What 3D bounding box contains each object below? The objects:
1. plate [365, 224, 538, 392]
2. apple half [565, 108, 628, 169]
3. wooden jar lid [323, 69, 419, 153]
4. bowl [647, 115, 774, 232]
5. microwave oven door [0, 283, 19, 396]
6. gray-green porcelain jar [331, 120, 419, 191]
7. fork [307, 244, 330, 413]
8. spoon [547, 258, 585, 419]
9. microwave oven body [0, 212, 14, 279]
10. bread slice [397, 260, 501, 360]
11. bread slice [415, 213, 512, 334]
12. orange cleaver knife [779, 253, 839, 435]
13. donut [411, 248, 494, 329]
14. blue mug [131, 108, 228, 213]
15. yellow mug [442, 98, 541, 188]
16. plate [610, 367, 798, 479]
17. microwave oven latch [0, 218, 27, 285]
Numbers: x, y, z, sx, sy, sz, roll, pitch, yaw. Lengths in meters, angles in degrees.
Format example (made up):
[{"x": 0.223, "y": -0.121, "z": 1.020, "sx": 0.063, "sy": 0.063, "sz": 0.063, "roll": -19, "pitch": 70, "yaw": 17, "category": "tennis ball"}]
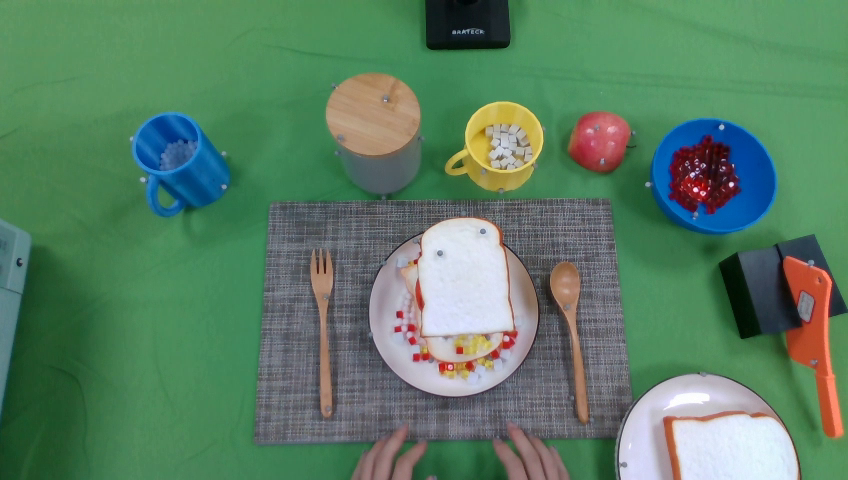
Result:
[{"x": 0.033, "y": 0.080, "z": 0.740, "sx": 0.208, "sy": 0.039, "sz": 0.206, "roll": 0, "pitch": 74, "yaw": 0, "category": "plate"}, {"x": 0.231, "y": -0.141, "z": 0.802, "sx": 0.074, "sy": 0.053, "sz": 0.080, "roll": 21, "pitch": 75, "yaw": 8, "category": "apple half"}, {"x": -0.060, "y": -0.146, "z": 0.696, "sx": 0.108, "sy": 0.021, "sz": 0.107, "roll": 1, "pitch": 71, "yaw": -2, "category": "wooden jar lid"}, {"x": 0.348, "y": -0.073, "z": 0.769, "sx": 0.151, "sy": 0.077, "sz": 0.150, "roll": 0, "pitch": 74, "yaw": 0, "category": "bowl"}, {"x": -0.511, "y": 0.195, "z": 0.581, "sx": 0.039, "sy": 0.245, "sz": 0.353, "roll": -1, "pitch": 73, "yaw": 0, "category": "microwave oven door"}, {"x": -0.059, "y": -0.127, "z": 0.757, "sx": 0.106, "sy": 0.127, "sz": 0.105, "roll": 0, "pitch": 73, "yaw": 0, "category": "gray-green porcelain jar"}, {"x": -0.126, "y": 0.105, "z": 0.741, "sx": 0.028, "sy": 0.019, "sz": 0.206, "roll": -2, "pitch": 72, "yaw": -12, "category": "fork"}, {"x": 0.177, "y": 0.117, "z": 0.737, "sx": 0.042, "sy": 0.021, "sz": 0.192, "roll": 2, "pitch": 72, "yaw": -21, "category": "spoon"}, {"x": -0.657, "y": 0.156, "z": 0.596, "sx": 0.326, "sy": 0.261, "sz": 0.439, "roll": 0, "pitch": 74, "yaw": -1, "category": "microwave oven body"}, {"x": 0.038, "y": 0.078, "z": 0.740, "sx": 0.107, "sy": 0.018, "sz": 0.133, "roll": -18, "pitch": 75, "yaw": -4, "category": "bread slice"}, {"x": 0.039, "y": 0.037, "z": 0.659, "sx": 0.105, "sy": 0.019, "sz": 0.131, "roll": -5, "pitch": 87, "yaw": 5, "category": "bread slice"}, {"x": 0.450, "y": 0.120, "z": 0.711, "sx": 0.012, "sy": 0.077, "sz": 0.211, "roll": -11, "pitch": 96, "yaw": -10, "category": "orange cleaver knife"}, {"x": 0.034, "y": 0.057, "z": 0.717, "sx": 0.099, "sy": 0.048, "sz": 0.098, "roll": 0, "pitch": 74, "yaw": 0, "category": "donut"}, {"x": -0.308, "y": -0.089, "z": 0.755, "sx": 0.082, "sy": 0.106, "sz": 0.116, "roll": 19, "pitch": 74, "yaw": 6, "category": "blue mug"}, {"x": 0.084, "y": -0.119, "z": 0.787, "sx": 0.131, "sy": 0.064, "sz": 0.099, "roll": -22, "pitch": 75, "yaw": -6, "category": "yellow mug"}, {"x": 0.315, "y": 0.252, "z": 0.694, "sx": 0.209, "sy": 0.038, "sz": 0.208, "roll": 0, "pitch": 74, "yaw": 0, "category": "plate"}, {"x": -0.510, "y": 0.014, "z": 0.739, "sx": 0.030, "sy": 0.029, "sz": 0.078, "roll": 4, "pitch": 74, "yaw": 1, "category": "microwave oven latch"}]
